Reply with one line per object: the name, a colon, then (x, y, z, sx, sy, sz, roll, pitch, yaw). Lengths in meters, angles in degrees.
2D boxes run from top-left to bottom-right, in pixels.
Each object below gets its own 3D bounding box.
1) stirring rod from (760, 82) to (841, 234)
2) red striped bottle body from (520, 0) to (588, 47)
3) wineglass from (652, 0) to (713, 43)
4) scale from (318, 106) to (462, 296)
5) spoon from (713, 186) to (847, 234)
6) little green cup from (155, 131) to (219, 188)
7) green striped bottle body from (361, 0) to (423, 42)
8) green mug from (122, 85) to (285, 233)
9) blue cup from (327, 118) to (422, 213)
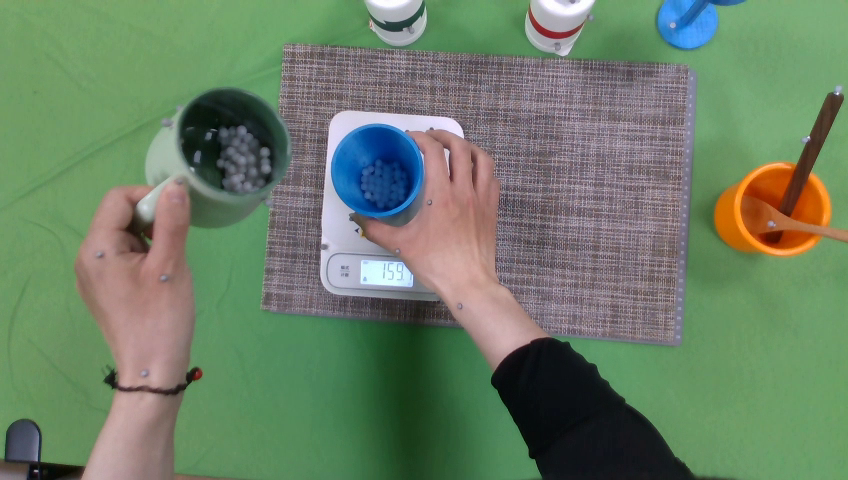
stirring rod: (0.357, -0.071, 0.581, 0.014, 0.178, 0.006, 13, 47, 18)
red striped bottle body: (0.134, -0.247, 0.615, 0.063, 0.120, 0.063, 0, 87, 3)
wineglass: (0.278, -0.254, 0.581, 0.074, 0.172, 0.073, 0, 87, 4)
scale: (-0.037, -0.043, 0.655, 0.148, 0.031, 0.200, 3, 88, 3)
spoon: (0.372, -0.018, 0.578, 0.022, 0.192, 0.041, 13, 96, -39)
little green cup: (-0.258, -0.086, 0.668, 0.061, 0.038, 0.061, 0, 88, 2)
green striped bottle body: (-0.036, -0.256, 0.625, 0.063, 0.119, 0.063, 0, 87, 3)
green mug: (-0.169, -0.050, 0.453, 0.093, 0.104, 0.125, 49, 61, -15)
blue cup: (-0.044, -0.065, 0.592, 0.092, 0.100, 0.092, 0, 89, 0)
